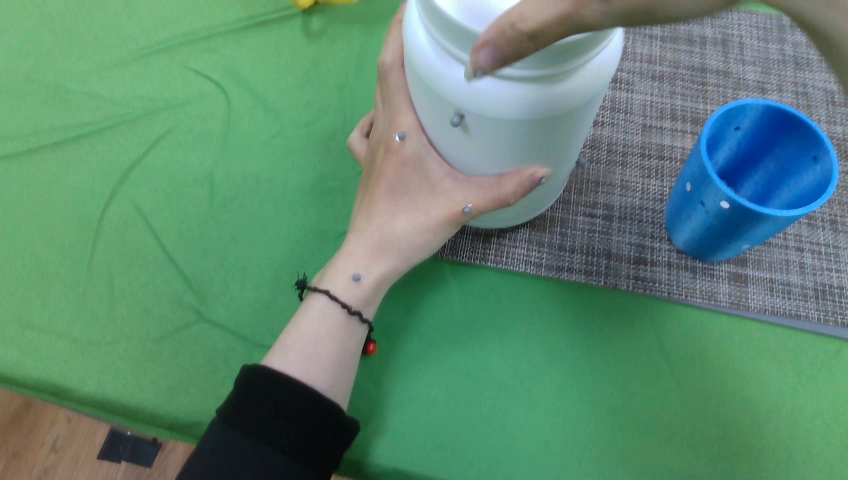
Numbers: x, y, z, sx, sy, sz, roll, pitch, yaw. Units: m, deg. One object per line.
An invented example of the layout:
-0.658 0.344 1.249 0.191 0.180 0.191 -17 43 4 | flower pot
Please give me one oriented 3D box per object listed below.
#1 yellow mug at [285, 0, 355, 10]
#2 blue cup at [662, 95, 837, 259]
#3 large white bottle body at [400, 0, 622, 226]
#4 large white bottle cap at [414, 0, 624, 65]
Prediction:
-0.092 -0.260 0.537 0.100 0.064 0.130 22 67 8 | yellow mug
0.210 -0.033 0.417 0.092 0.101 0.092 0 65 1 | blue cup
0.049 -0.105 0.399 0.131 0.186 0.129 1 64 -1 | large white bottle body
0.050 -0.142 0.321 0.115 0.018 0.114 1 65 -1 | large white bottle cap
